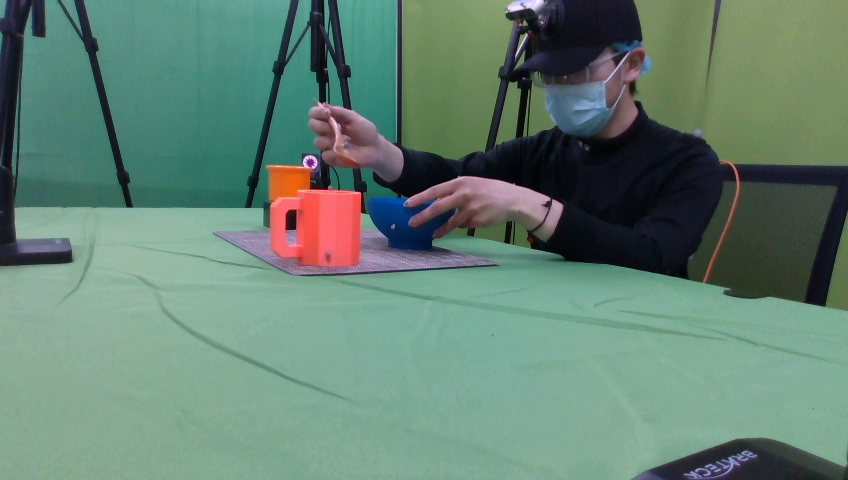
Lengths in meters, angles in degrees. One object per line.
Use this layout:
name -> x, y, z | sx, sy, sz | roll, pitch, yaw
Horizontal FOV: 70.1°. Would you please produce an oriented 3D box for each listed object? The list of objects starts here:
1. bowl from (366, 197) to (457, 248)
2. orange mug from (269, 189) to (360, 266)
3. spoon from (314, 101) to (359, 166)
bowl -> -0.022, -0.029, 1.000 | 0.151, 0.077, 0.151 | 2, 7, 0
orange mug -> -0.143, -0.019, 0.796 | 0.127, 0.100, 0.083 | 3, 5, -39
spoon -> -0.135, -0.163, 0.904 | 0.042, 0.021, 0.193 | 29, 23, -40
